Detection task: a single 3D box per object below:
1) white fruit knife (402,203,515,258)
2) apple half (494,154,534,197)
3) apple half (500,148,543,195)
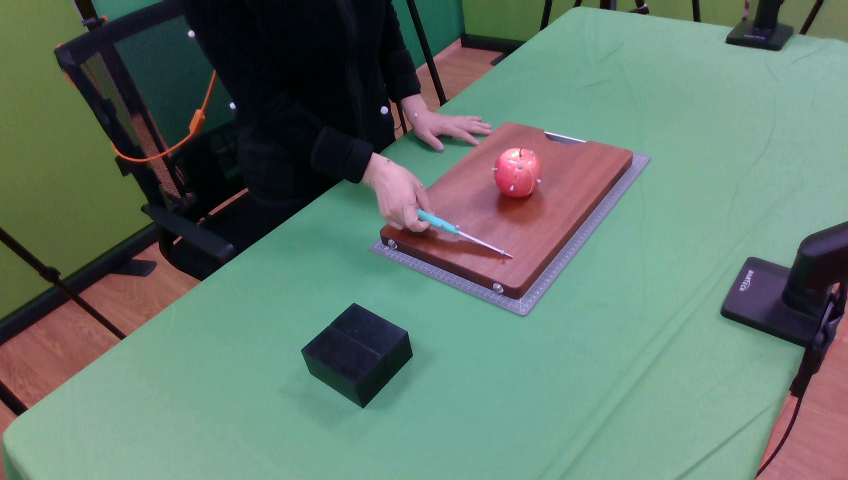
[{"bbox_3d":[0.050,-0.015,0.937,0.206,0.016,0.027,24,8,21],"label":"white fruit knife"},{"bbox_3d":[0.140,-0.098,0.989,0.080,0.081,0.033,27,50,35],"label":"apple half"},{"bbox_3d":[0.166,-0.118,1.010,0.080,0.075,0.053,23,46,38],"label":"apple half"}]
